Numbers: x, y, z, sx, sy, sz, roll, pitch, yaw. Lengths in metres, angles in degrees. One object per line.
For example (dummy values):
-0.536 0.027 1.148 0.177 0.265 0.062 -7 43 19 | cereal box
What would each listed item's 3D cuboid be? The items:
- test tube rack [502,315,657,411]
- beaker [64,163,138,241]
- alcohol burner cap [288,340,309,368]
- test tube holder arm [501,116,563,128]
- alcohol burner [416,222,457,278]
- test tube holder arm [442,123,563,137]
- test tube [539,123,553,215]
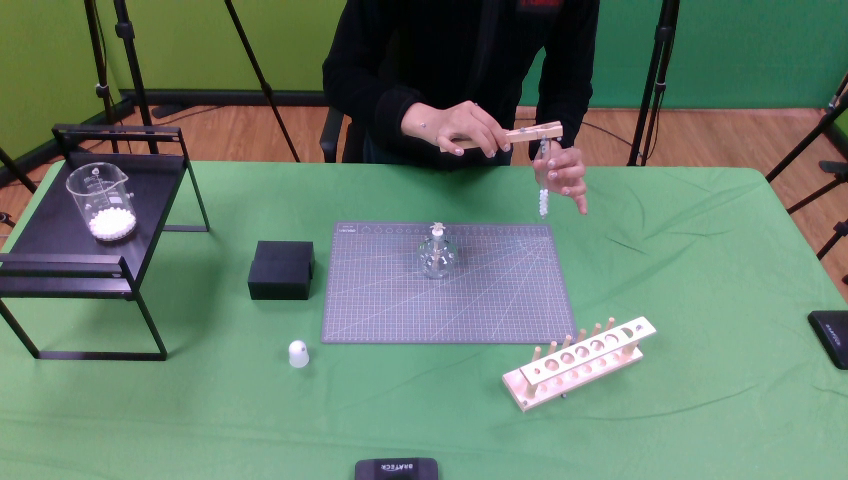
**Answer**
0.253 0.186 0.988 0.242 0.085 0.066 -18 50 -20 | test tube rack
-0.477 -0.055 0.910 0.084 0.101 0.073 -9 48 -13 | beaker
-0.207 0.183 0.991 0.034 0.048 0.033 2 47 -2 | alcohol burner cap
0.156 -0.166 0.875 0.088 0.015 0.010 -6 66 13 | test tube holder arm
0.024 0.013 1.115 0.078 0.120 0.077 1 45 -1 | alcohol burner
0.113 -0.161 0.886 0.178 0.015 0.013 4 68 17 | test tube holder arm
0.182 -0.104 0.909 0.017 0.151 0.017 -4 33 3 | test tube
